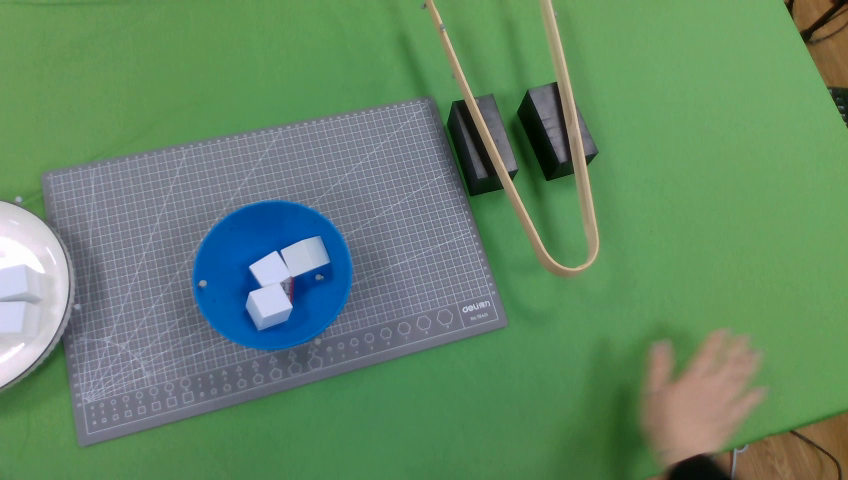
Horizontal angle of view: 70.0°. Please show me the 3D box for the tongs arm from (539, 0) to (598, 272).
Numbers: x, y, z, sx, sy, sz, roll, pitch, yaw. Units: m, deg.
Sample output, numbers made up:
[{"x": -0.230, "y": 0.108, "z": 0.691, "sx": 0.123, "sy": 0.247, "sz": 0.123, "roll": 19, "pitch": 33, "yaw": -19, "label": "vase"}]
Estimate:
[{"x": 0.157, "y": -0.152, "z": 0.695, "sx": 0.028, "sy": 0.028, "sz": 0.385, "roll": -2, "pitch": 73, "yaw": -12, "label": "tongs arm"}]

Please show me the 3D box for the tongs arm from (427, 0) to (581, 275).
[{"x": 0.081, "y": -0.137, "z": 0.682, "sx": 0.051, "sy": 0.026, "sz": 0.382, "roll": -15, "pitch": 75, "yaw": -13, "label": "tongs arm"}]

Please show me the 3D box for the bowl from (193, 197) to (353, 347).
[{"x": -0.148, "y": 0.040, "z": 0.620, "sx": 0.151, "sy": 0.077, "sz": 0.150, "roll": 2, "pitch": 72, "yaw": -6, "label": "bowl"}]

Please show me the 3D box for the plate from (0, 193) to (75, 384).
[{"x": -0.453, "y": 0.053, "z": 0.601, "sx": 0.208, "sy": 0.039, "sz": 0.206, "roll": 2, "pitch": 73, "yaw": -5, "label": "plate"}]
